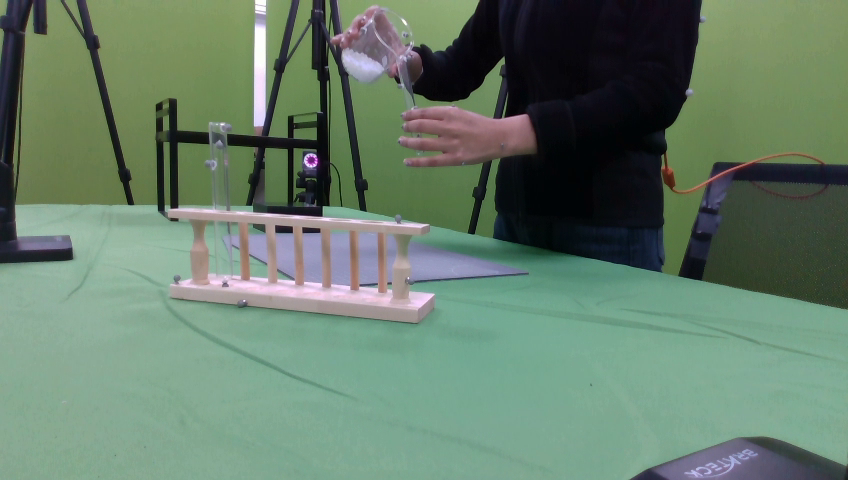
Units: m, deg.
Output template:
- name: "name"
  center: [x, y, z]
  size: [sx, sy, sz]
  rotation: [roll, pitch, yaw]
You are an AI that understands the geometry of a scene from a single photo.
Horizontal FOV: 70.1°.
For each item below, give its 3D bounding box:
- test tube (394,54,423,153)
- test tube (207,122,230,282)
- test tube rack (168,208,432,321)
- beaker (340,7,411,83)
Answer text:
- name: "test tube"
  center: [-0.022, -0.199, 0.883]
  size: [0.017, 0.150, 0.017]
  rotation: [-12, -5, -1]
- name: "test tube"
  center: [-0.192, -0.034, 0.564]
  size: [0.017, 0.150, 0.017]
  rotation: [2, 11, 0]
- name: "test tube rack"
  center: [-0.116, 0.017, 0.574]
  size: [0.242, 0.085, 0.067]
  rotation: [4, 8, 13]
- name: "beaker"
  center: [-0.077, -0.292, 0.928]
  size: [0.074, 0.084, 0.100]
  rotation: [-13, -10, -42]
